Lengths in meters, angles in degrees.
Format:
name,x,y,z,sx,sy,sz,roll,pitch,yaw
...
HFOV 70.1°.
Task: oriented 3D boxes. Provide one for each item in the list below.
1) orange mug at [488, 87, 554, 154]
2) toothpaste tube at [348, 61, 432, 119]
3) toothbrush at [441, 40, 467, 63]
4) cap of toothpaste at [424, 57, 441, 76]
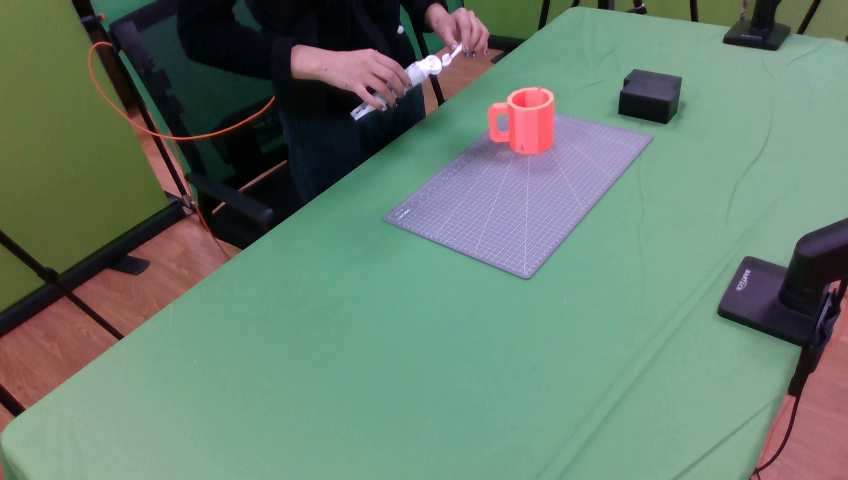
name,x,y,z,sx,sy,sz,roll,pitch,yaw
orange mug,0.185,-0.227,1.151,0.126,0.101,0.083,0,41,5
toothpaste tube,-0.058,-0.262,1.051,0.165,0.035,0.054,-33,26,-3
toothbrush,0.060,-0.352,1.124,0.016,0.014,0.182,13,29,9
cap of toothpaste,0.015,-0.310,1.076,0.037,0.037,0.011,-31,2,-23
